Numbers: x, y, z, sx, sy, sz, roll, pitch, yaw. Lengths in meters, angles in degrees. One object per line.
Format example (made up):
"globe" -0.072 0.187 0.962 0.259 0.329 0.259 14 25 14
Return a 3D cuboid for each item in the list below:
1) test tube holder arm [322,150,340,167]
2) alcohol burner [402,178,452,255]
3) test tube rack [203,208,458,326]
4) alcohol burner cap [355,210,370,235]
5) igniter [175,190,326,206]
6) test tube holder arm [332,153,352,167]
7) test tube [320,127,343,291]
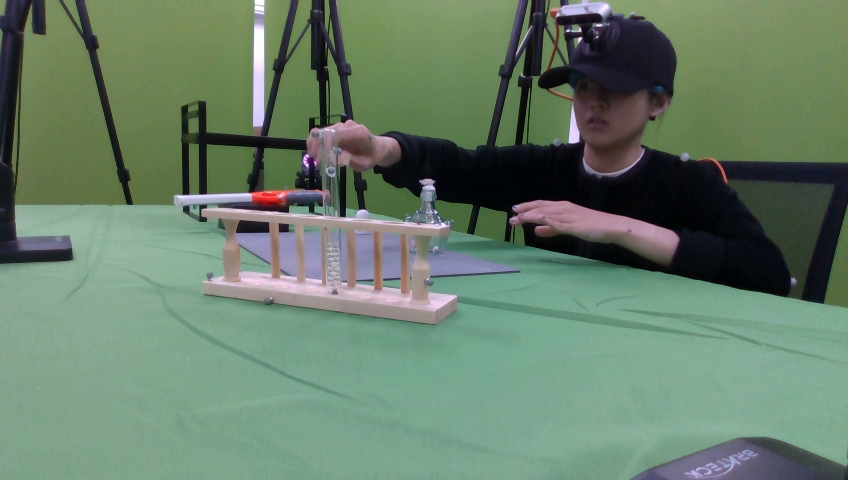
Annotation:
"test tube holder arm" -0.118 -0.101 0.760 0.013 0.015 0.178 18 1 -15
"alcohol burner" 0.005 -0.036 0.922 0.078 0.119 0.078 5 7 0
"test tube rack" -0.090 0.019 0.579 0.241 0.085 0.067 5 7 19
"alcohol burner cap" -0.116 -0.033 1.136 0.034 0.048 0.034 2 7 0
"igniter" -0.315 -0.079 1.128 0.278 0.025 0.057 -5 13 -34
"test tube holder arm" -0.100 -0.095 0.719 0.010 0.015 0.087 17 1 -20
"test tube" -0.084 -0.028 0.553 0.017 0.150 0.017 -1 6 0
